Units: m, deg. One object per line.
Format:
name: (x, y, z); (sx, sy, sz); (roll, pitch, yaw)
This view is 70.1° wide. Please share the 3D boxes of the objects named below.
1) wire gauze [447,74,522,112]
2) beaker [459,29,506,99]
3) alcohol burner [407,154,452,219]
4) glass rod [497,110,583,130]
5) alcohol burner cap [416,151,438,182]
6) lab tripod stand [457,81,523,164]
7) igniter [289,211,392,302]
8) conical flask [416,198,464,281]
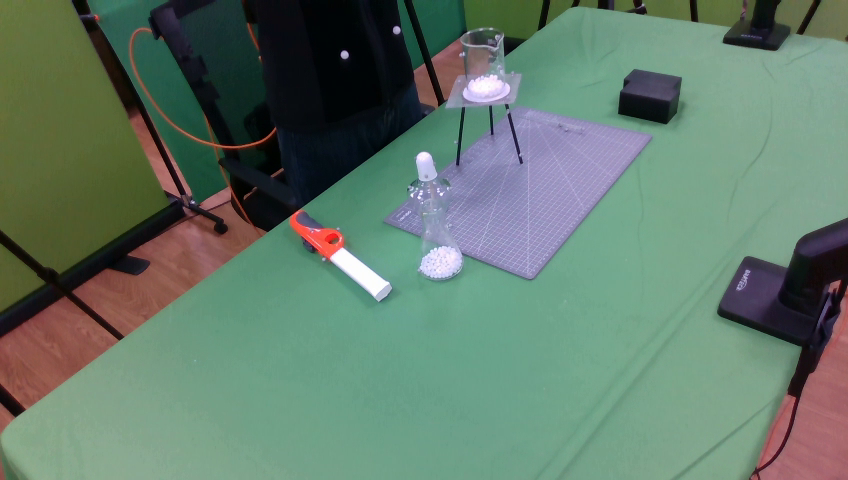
wire gauze: (0.110, -0.268, 1.087); (0.121, 0.011, 0.125); (1, 43, 15)
beaker: (0.107, -0.305, 1.056); (0.074, 0.101, 0.083); (-27, 43, -18)
alcohol burner: (0.008, -0.096, 1.020); (0.078, 0.119, 0.077); (-4, 40, 4)
glass rod: (0.233, -0.245, 1.235); (0.198, 0.008, 0.008); (20, 49, 34)
alcohol burner cap: (0.003, -0.123, 0.996); (0.034, 0.048, 0.033); (-10, 37, 8)
lab tripod stand: (0.120, -0.219, 1.130); (0.148, 0.132, 0.147); (-7, 38, 6)
igniter: (-0.146, 0.019, 0.985); (0.057, 0.025, 0.274); (-40, 48, -18)
conical flask: (0.019, -0.004, 0.907); (0.075, 0.122, 0.075); (-5, 40, 5)
